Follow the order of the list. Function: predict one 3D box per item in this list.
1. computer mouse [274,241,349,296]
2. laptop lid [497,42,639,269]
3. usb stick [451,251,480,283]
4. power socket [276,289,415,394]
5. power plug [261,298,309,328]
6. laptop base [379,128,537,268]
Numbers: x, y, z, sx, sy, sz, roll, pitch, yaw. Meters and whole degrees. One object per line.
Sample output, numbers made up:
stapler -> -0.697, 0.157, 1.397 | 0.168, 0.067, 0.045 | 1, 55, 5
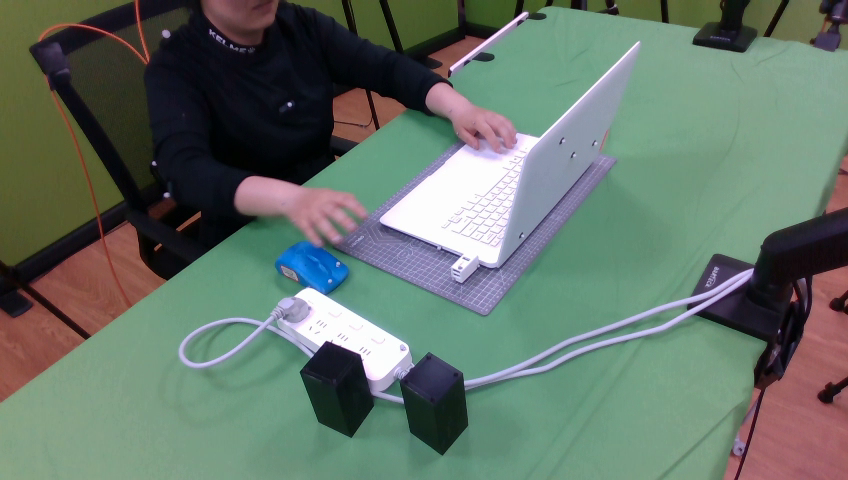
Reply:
computer mouse -> -0.175, 0.040, 0.936 | 0.116, 0.041, 0.063 | 27, 48, 28
laptop lid -> 0.221, -0.130, 0.912 | 0.013, 0.242, 0.357 | 31, 51, 21
usb stick -> 0.066, 0.036, 0.899 | 0.021, 0.027, 0.059 | 23, 45, 33
power socket -> -0.113, 0.133, 0.821 | 0.225, 0.033, 0.072 | 25, 50, 33
power plug -> -0.193, 0.107, 0.831 | 0.073, 0.053, 0.035 | -31, 43, -26
laptop base -> 0.118, -0.088, 1.058 | 0.233, 0.023, 0.355 | 19, 47, 32
